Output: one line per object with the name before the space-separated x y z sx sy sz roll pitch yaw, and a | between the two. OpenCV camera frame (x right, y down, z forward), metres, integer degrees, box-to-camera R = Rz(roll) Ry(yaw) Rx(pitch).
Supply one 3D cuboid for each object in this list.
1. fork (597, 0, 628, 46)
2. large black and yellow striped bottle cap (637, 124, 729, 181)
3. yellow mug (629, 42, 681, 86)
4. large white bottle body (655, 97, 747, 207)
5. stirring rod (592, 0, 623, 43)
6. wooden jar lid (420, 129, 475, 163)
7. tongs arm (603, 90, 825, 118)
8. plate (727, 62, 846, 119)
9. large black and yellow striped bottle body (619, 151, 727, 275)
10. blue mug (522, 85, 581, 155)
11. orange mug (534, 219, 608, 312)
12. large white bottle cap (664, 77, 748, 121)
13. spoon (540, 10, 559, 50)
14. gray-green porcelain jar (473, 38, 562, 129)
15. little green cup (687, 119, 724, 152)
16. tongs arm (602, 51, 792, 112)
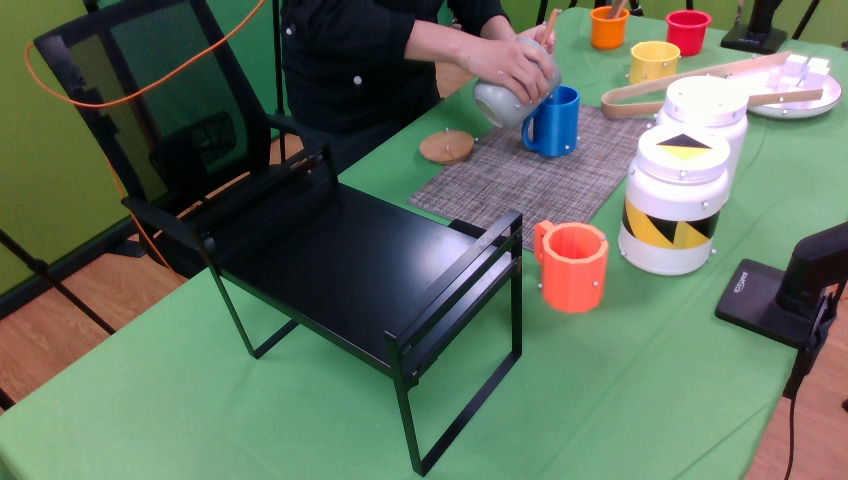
fork | 0.479 -0.558 1.455 0.028 0.019 0.207 35 100 38
large black and yellow striped bottle cap | 0.346 -0.119 0.810 0.115 0.019 0.114 -5 41 5
yellow mug | 0.495 -0.389 1.321 0.100 0.064 0.130 -14 40 -6
large white bottle body | 0.431 -0.148 0.959 0.130 0.185 0.130 -4 41 4
stirring rod | 0.460 -0.557 1.461 0.014 0.176 0.006 35 11 22
wooden jar lid | 0.047 -0.183 1.183 0.108 0.021 0.108 -6 37 5
tongs arm | 0.546 -0.262 1.163 0.386 0.028 0.028 -1 49 18
plate | 0.709 -0.292 1.197 0.207 0.039 0.206 -4 40 4
large black and yellow striped bottle body | 0.354 -0.056 0.865 0.131 0.185 0.130 -4 41 4
blue mug | 0.233 -0.218 1.127 0.117 0.106 0.081 -23 43 -16
orange mug | 0.200 0.027 0.858 0.084 0.101 0.125 -24 48 -18
large white bottle cap | 0.421 -0.212 0.905 0.115 0.018 0.114 -4 40 4
spoon | 0.195 -0.315 1.064 0.041 0.022 0.193 22 86 50
gray-green porcelain jar | 0.156 -0.264 1.042 0.126 0.107 0.105 -45 47 -1
little green cup | 0.514 -0.191 1.109 0.061 0.039 0.061 -5 40 5
tongs arm | 0.552 -0.320 1.224 0.384 0.027 0.050 -10 43 7
